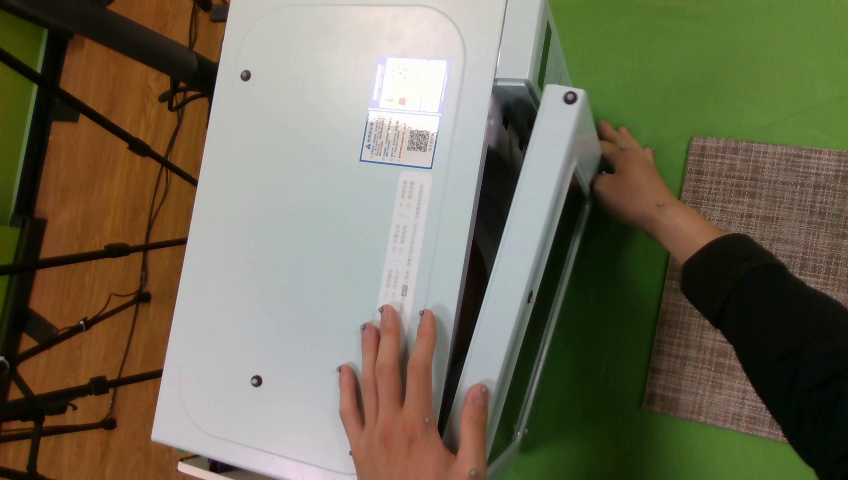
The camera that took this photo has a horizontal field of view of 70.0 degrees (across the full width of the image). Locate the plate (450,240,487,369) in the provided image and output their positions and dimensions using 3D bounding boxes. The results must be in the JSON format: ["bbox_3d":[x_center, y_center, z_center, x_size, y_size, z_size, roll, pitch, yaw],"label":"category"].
[{"bbox_3d":[-0.030,0.060,0.676,0.207,0.039,0.207,-2,85,17],"label":"plate"}]

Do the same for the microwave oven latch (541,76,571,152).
[{"bbox_3d":[0.148,-0.142,0.685,0.030,0.029,0.079,9,88,19],"label":"microwave oven latch"}]

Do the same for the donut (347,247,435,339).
[{"bbox_3d":[-0.036,0.057,0.649,0.099,0.048,0.099,-1,84,13],"label":"donut"}]

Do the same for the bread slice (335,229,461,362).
[{"bbox_3d":[-0.038,0.055,0.671,0.107,0.018,0.133,-35,68,0],"label":"bread slice"}]

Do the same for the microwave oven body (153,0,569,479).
[{"bbox_3d":[-0.051,0.002,0.636,0.324,0.261,0.441,8,88,19],"label":"microwave oven body"}]

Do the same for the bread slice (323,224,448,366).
[{"bbox_3d":[-0.051,0.051,0.626,0.105,0.019,0.131,-34,77,16],"label":"bread slice"}]

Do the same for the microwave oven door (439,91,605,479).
[{"bbox_3d":[0.098,0.067,0.573,0.039,0.245,0.355,16,90,21],"label":"microwave oven door"}]
